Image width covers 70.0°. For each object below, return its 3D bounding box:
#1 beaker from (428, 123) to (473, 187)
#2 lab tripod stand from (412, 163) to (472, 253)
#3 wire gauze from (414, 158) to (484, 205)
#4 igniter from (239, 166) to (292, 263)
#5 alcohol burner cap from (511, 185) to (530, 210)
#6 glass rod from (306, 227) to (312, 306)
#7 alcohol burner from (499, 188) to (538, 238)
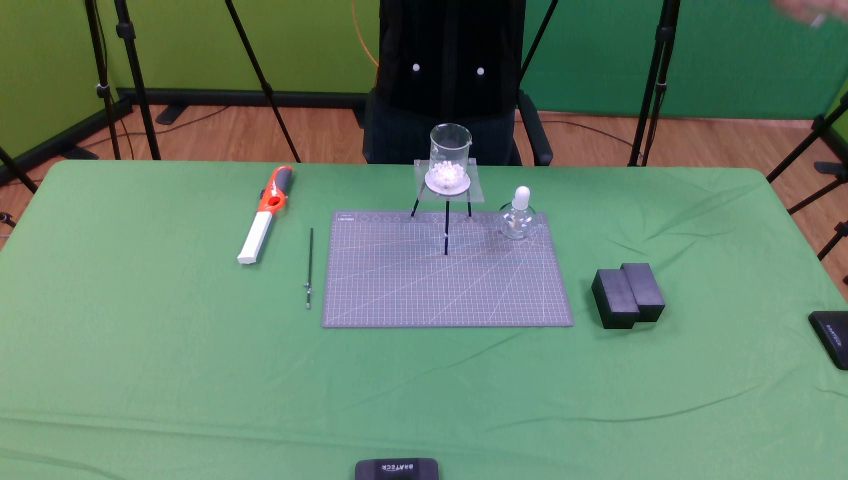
[{"bbox_3d":[0.044,-0.154,1.109,0.074,0.101,0.083,-25,54,-25],"label":"beaker"},{"bbox_3d":[0.043,-0.070,1.187,0.148,0.132,0.147,3,47,-3],"label":"lab tripod stand"},{"bbox_3d":[0.045,-0.113,1.137,0.125,0.011,0.120,1,48,-6],"label":"wire gauze"},{"bbox_3d":[-0.318,-0.060,1.229,0.057,0.025,0.275,-1,45,9],"label":"igniter"},{"bbox_3d":[0.190,-0.086,1.176,0.034,0.048,0.033,3,50,-3],"label":"alcohol burner cap"},{"bbox_3d":[-0.218,0.045,1.148,0.008,0.008,0.198,-3,47,-6],"label":"glass rod"},{"bbox_3d":[0.189,-0.060,1.202,0.078,0.120,0.077,1,48,-1],"label":"alcohol burner"}]
